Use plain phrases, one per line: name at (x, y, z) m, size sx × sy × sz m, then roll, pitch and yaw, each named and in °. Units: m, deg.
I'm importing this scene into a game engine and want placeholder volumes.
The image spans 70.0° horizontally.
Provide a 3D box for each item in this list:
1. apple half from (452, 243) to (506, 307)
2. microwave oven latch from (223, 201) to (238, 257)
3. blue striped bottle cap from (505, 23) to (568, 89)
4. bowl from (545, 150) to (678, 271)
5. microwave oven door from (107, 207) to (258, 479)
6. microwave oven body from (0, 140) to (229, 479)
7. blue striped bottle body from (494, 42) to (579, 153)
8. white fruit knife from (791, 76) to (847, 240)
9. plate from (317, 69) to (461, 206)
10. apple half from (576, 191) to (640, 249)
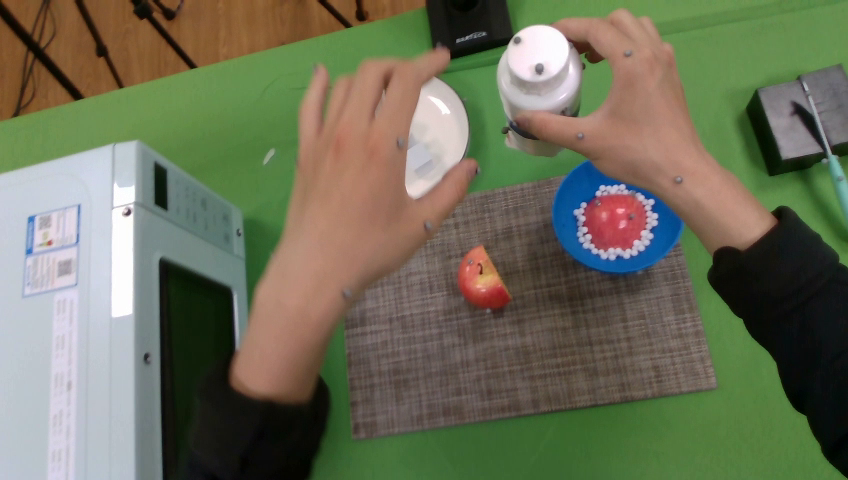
apple half at (0.064, 0.051, 0.764) m, size 0.053 × 0.075 × 0.080 m, roll -31°, pitch 74°, yaw 6°
microwave oven latch at (-0.284, -0.013, 0.861) m, size 0.030 × 0.030 × 0.078 m, roll -12°, pitch 73°, yaw 8°
blue striped bottle cap at (0.080, -0.130, 0.431) m, size 0.044 × 0.021 × 0.044 m, roll -2°, pitch 81°, yaw 15°
bowl at (0.227, -0.027, 0.748) m, size 0.151 × 0.077 × 0.150 m, roll -3°, pitch 74°, yaw 12°
microwave oven door at (-0.273, 0.163, 0.700) m, size 0.039 × 0.245 × 0.353 m, roll -13°, pitch 72°, yaw 9°
microwave oven body at (-0.419, 0.157, 0.738) m, size 0.326 × 0.262 × 0.438 m, roll -12°, pitch 73°, yaw 8°
blue striped bottle body at (0.090, -0.118, 0.480) m, size 0.063 × 0.121 × 0.063 m, roll -3°, pitch 77°, yaw 12°
white fruit knife at (0.471, -0.096, 0.715) m, size 0.016 × 0.027 × 0.207 m, roll -21°, pitch 87°, yaw 24°
plate at (-0.048, -0.143, 0.867) m, size 0.207 × 0.039 × 0.206 m, roll -3°, pitch 74°, yaw 11°
apple half at (0.227, -0.028, 0.743) m, size 0.081 × 0.033 × 0.081 m, roll -4°, pitch 72°, yaw 11°
